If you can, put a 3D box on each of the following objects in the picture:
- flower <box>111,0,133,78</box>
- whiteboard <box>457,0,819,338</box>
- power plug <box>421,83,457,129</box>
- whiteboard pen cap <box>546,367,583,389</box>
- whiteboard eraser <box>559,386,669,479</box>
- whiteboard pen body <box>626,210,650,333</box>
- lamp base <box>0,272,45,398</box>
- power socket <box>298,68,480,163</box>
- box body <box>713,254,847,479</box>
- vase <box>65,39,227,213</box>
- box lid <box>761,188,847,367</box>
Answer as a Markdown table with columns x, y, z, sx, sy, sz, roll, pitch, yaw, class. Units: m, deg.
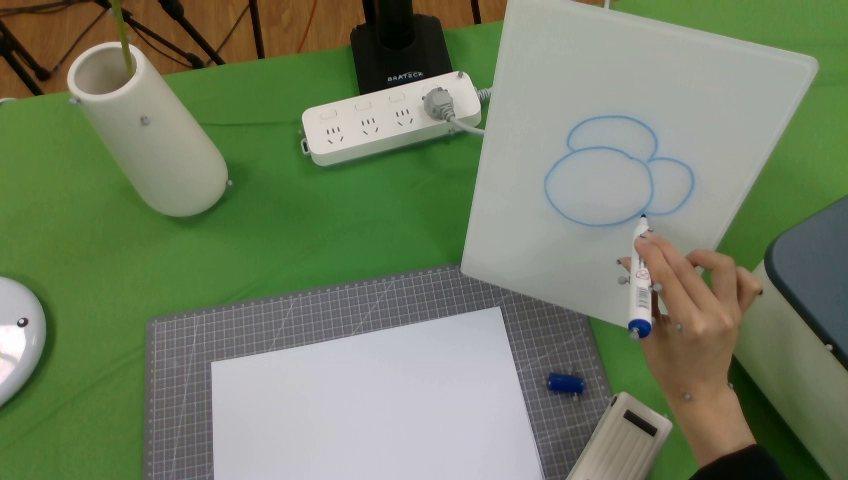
| x | y | z | sx | sy | sz | roll | pitch | yaw | class |
| --- | --- | --- | --- | --- | --- | --- | --- | --- | --- |
| -0.261 | -0.142 | 0.546 | 0.038 | 0.363 | 0.044 | 38 | 61 | 0 | flower |
| 0.173 | -0.085 | 0.567 | 0.216 | 0.308 | 0.143 | 18 | 45 | 12 | whiteboard |
| 0.016 | -0.147 | 0.696 | 0.035 | 0.053 | 0.072 | -6 | 70 | -1 | power plug |
| 0.136 | 0.134 | 0.586 | 0.033 | 0.018 | 0.018 | 7 | 64 | 3 | whiteboard pen cap |
| 0.169 | 0.191 | 0.543 | 0.055 | 0.042 | 0.112 | 32 | 70 | 17 | whiteboard eraser |
| 0.167 | 0.018 | 0.469 | 0.017 | 0.017 | 0.140 | 14 | 42 | 10 | whiteboard pen body |
| -0.487 | 0.066 | 0.555 | 0.178 | 0.182 | 0.160 | 20 | 66 | 15 | lamp base |
| -0.040 | -0.150 | 0.725 | 0.227 | 0.033 | 0.071 | -15 | 65 | -5 | power socket |
| 0.462 | 0.122 | 0.500 | 0.254 | 0.161 | 0.361 | -27 | 66 | -11 | box body |
| -0.279 | -0.109 | 0.622 | 0.098 | 0.201 | 0.097 | -1 | 64 | 3 | vase |
| 0.457 | 0.087 | 0.434 | 0.263 | 0.015 | 0.368 | -27 | 66 | -10 | box lid |
